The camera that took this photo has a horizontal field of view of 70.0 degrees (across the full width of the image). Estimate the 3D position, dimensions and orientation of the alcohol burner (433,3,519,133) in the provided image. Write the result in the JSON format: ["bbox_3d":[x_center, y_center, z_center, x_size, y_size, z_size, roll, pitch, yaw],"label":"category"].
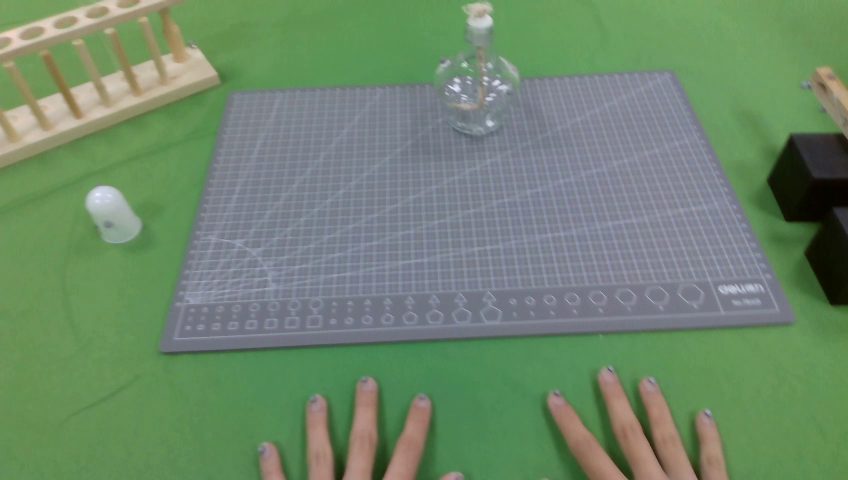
[{"bbox_3d":[0.047,-0.154,0.534,0.078,0.120,0.077,0,52,0],"label":"alcohol burner"}]

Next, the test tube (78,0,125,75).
[{"bbox_3d":[-0.308,-0.217,0.558,0.017,0.152,0.017,-3,50,4],"label":"test tube"}]

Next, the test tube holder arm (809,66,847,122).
[{"bbox_3d":[0.335,-0.110,0.482,0.015,0.010,0.087,1,49,-6],"label":"test tube holder arm"}]

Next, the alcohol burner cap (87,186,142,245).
[{"bbox_3d":[-0.253,-0.022,0.489,0.034,0.048,0.033,-1,50,1],"label":"alcohol burner cap"}]

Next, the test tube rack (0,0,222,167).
[{"bbox_3d":[-0.329,-0.156,0.572,0.242,0.086,0.066,-28,55,-19],"label":"test tube rack"}]

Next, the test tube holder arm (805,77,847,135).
[{"bbox_3d":[0.337,-0.073,0.456,0.015,0.013,0.176,1,48,-5],"label":"test tube holder arm"}]
